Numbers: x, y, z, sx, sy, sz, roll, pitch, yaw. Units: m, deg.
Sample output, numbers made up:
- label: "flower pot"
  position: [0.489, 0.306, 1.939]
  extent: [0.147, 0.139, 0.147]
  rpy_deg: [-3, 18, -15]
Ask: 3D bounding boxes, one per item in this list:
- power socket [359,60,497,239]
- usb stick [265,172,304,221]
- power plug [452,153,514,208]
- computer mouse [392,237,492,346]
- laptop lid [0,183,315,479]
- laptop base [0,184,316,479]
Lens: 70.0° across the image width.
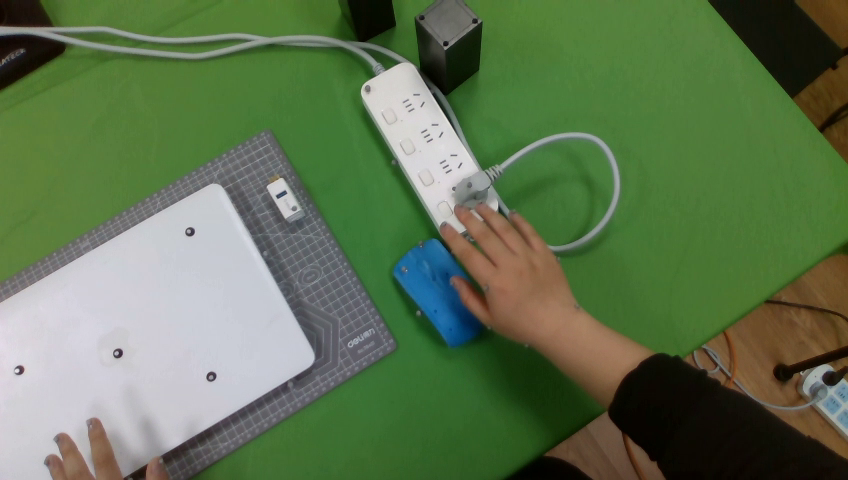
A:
- label: "power socket"
  position: [0.003, -0.103, 0.681]
  extent: [0.072, 0.033, 0.225]
  rpy_deg: [-30, 79, -3]
- label: "usb stick"
  position: [-0.159, -0.052, 0.678]
  extent: [0.021, 0.027, 0.059]
  rpy_deg: [-32, 76, 0]
- label: "power plug"
  position: [0.066, -0.059, 0.648]
  extent: [0.072, 0.053, 0.035]
  rpy_deg: [-19, 80, -3]
- label: "computer mouse"
  position: [0.018, 0.052, 0.645]
  extent: [0.063, 0.041, 0.116]
  rpy_deg: [-36, 74, -3]
- label: "laptop lid"
  position: [-0.320, 0.120, 0.644]
  extent: [0.357, 0.013, 0.240]
  rpy_deg: [-30, 81, -4]
- label: "laptop base"
  position: [-0.321, 0.120, 0.656]
  extent: [0.354, 0.023, 0.234]
  rpy_deg: [-31, 82, -4]
